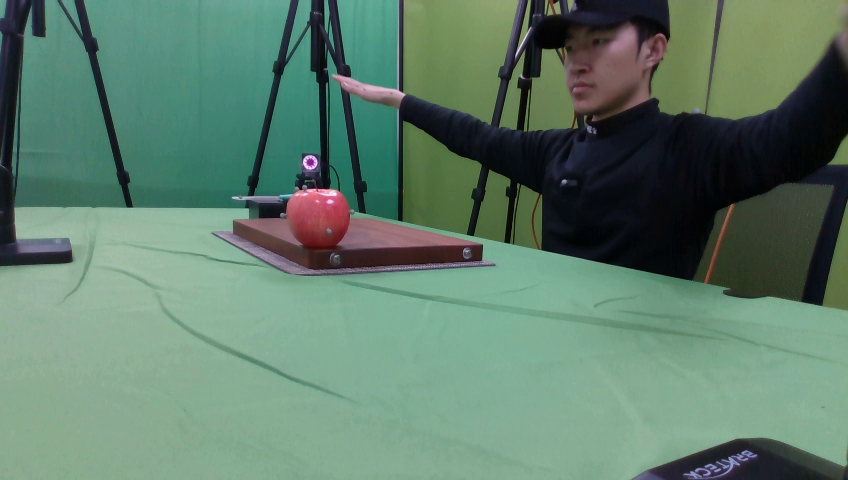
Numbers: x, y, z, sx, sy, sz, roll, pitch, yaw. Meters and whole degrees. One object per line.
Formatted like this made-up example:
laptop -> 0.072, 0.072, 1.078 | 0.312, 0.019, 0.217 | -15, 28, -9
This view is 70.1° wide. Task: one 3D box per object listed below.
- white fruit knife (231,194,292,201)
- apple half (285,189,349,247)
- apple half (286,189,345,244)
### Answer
white fruit knife -> -0.299, -0.089, 1.283 | 0.208, 0.016, 0.027 | -3, -15, -17
apple half -> -0.132, -0.026, 0.765 | 0.081, 0.074, 0.053 | 2, 10, -22
apple half -> -0.146, -0.033, 0.801 | 0.081, 0.081, 0.032 | 0, 11, -22
